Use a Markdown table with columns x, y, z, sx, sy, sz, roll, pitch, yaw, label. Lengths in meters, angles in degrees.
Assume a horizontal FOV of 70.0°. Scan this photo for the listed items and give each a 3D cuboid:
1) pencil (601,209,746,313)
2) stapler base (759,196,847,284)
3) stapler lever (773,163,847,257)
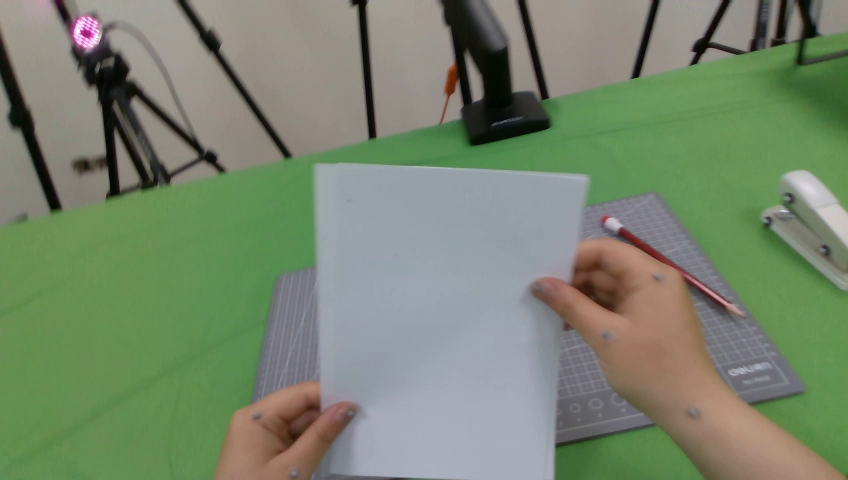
| x | y | z | sx | sy | sz | roll | pitch | yaw | label |
| --- | --- | --- | --- | --- | --- | --- | --- | --- | --- |
| 0.235 | 0.015 | 0.588 | 0.012 | 0.012 | 0.192 | -24 | 37 | -13 | pencil |
| 0.370 | -0.011 | 0.570 | 0.041 | 0.025 | 0.129 | -18 | 38 | 0 | stapler base |
| 0.366 | -0.029 | 0.553 | 0.027 | 0.040 | 0.117 | -18 | 38 | 0 | stapler lever |
